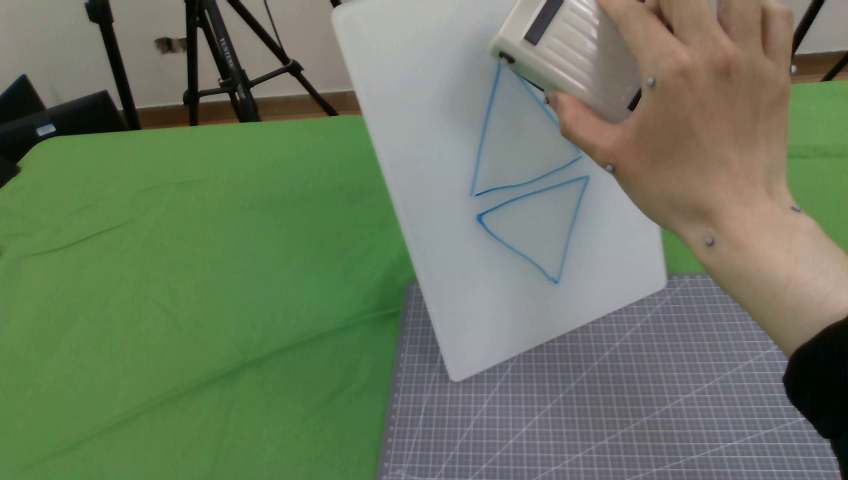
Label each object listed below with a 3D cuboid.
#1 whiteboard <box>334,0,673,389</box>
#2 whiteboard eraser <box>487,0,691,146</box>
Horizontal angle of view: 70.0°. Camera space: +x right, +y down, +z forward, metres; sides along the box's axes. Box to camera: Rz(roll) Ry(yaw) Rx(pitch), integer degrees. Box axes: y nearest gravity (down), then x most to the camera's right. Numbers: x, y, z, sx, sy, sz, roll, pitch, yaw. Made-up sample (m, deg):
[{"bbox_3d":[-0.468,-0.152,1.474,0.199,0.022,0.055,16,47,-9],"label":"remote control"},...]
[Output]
[{"bbox_3d":[0.062,-0.071,0.520,0.217,0.308,0.142,-22,24,-11],"label":"whiteboard"},{"bbox_3d":[0.099,-0.108,0.369,0.113,0.055,0.041,30,9,-4],"label":"whiteboard eraser"}]
